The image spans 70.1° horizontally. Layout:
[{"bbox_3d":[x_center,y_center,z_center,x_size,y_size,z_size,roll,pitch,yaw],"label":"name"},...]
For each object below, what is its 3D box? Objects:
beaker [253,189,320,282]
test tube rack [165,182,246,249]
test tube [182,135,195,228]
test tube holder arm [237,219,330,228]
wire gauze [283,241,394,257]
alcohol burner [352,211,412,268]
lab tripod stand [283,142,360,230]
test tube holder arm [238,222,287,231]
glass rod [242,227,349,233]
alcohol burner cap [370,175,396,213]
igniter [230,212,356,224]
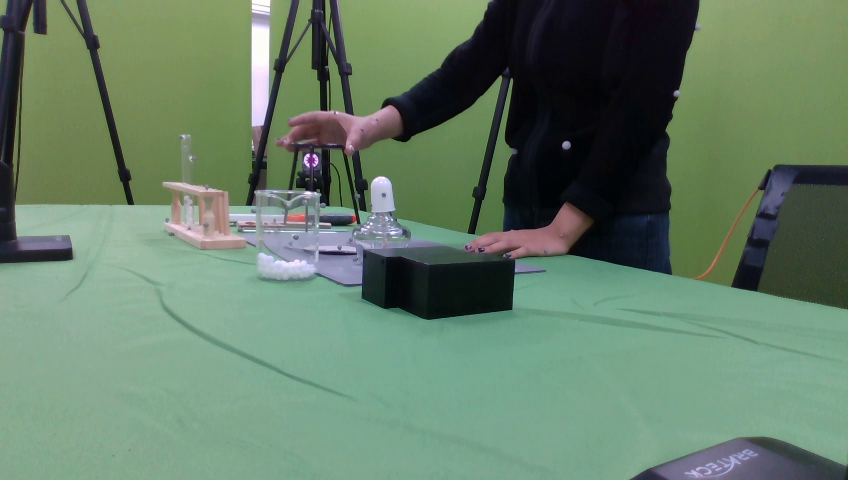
[{"bbox_3d":[-0.156,-0.005,0.689,0.074,0.100,0.083,0,8,-13],"label":"beaker"},{"bbox_3d":[-0.360,-0.044,0.982,0.067,0.085,0.241,-3,9,-34],"label":"test tube rack"},{"bbox_3d":[-0.382,-0.095,0.983,0.017,0.150,0.017,-1,2,0],"label":"test tube"},{"bbox_3d":[-0.261,-0.030,1.142,0.179,0.015,0.013,-4,47,-34],"label":"test tube holder arm"},{"bbox_3d":[-0.127,0.012,0.894,0.126,0.011,0.121,1,6,-35],"label":"wire gauze"},{"bbox_3d":[-0.055,-0.023,0.784,0.078,0.119,0.078,2,9,0],"label":"alcohol burner"},{"bbox_3d":[-0.165,-0.087,0.947,0.148,0.131,0.148,2,9,0],"label":"lab tripod stand"},{"bbox_3d":[-0.297,-0.024,1.114,0.088,0.015,0.010,-3,47,-33],"label":"test tube holder arm"},{"bbox_3d":[-0.232,-0.017,1.110,0.201,0.008,0.008,1,6,-30],"label":"glass rod"},{"bbox_3d":[-0.055,-0.059,0.778,0.034,0.048,0.034,-7,10,2],"label":"alcohol burner cap"},{"bbox_3d":[-0.271,-0.044,1.232,0.278,0.025,0.057,-2,-2,-27],"label":"igniter"}]
